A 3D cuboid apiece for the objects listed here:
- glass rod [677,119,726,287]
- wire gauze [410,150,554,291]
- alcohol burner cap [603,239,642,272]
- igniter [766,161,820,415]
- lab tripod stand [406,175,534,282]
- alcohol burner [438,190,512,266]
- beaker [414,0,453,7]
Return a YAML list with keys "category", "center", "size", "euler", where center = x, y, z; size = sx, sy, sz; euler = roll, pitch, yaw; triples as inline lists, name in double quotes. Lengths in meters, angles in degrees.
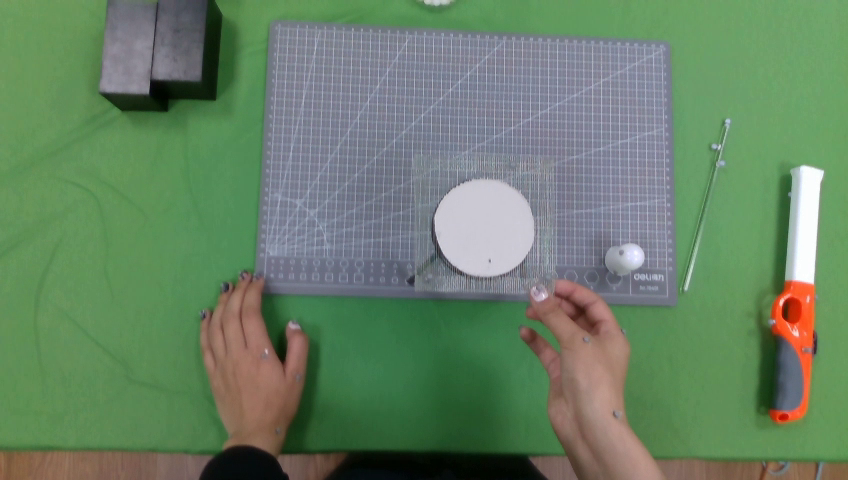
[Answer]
- category: "glass rod"
  center: [0.307, -0.043, 0.671]
  size: [0.008, 0.008, 0.199]
  euler: [19, 82, -1]
- category: "wire gauze"
  center: [0.049, -0.018, 0.519]
  size: [0.125, 0.011, 0.121]
  euler: [1, 82, -3]
- category: "alcohol burner cap"
  center: [0.211, 0.015, 0.638]
  size: [0.034, 0.048, 0.033]
  euler: [0, 81, -2]
- category: "igniter"
  center: [0.400, 0.051, 0.654]
  size: [0.057, 0.025, 0.275]
  euler: [11, 82, -13]
- category: "lab tripod stand"
  center: [0.046, -0.007, 0.586]
  size: [0.148, 0.132, 0.148]
  euler: [0, 81, -2]
- category: "alcohol burner"
  center: [0.052, -0.015, 0.597]
  size: [0.078, 0.119, 0.077]
  euler: [1, 80, -3]
- category: "beaker"
  center: [0.014, -0.300, 0.642]
  size: [0.074, 0.100, 0.084]
  euler: [-42, 87, -7]
